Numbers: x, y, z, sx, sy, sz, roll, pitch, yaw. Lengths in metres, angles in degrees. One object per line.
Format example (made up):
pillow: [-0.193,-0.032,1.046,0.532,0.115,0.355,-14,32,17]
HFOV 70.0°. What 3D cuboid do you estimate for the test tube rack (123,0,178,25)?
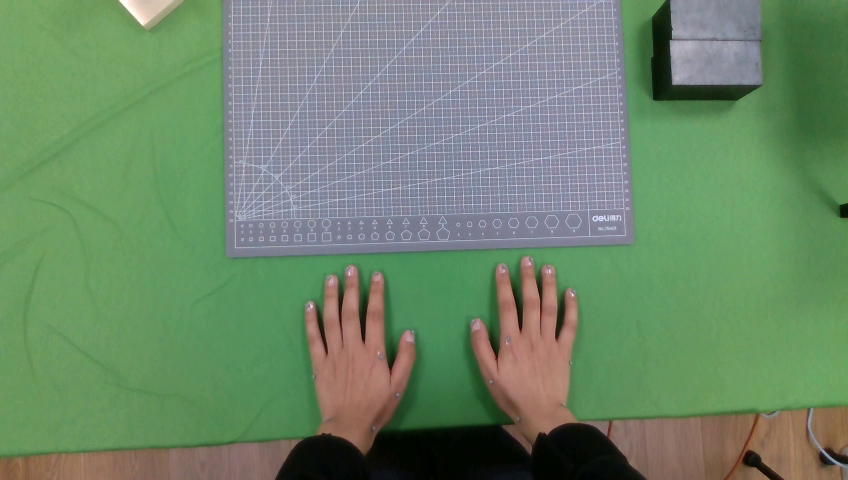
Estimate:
test tube rack: [-0.240,-0.347,0.642,0.242,0.085,0.066,-43,87,-5]
